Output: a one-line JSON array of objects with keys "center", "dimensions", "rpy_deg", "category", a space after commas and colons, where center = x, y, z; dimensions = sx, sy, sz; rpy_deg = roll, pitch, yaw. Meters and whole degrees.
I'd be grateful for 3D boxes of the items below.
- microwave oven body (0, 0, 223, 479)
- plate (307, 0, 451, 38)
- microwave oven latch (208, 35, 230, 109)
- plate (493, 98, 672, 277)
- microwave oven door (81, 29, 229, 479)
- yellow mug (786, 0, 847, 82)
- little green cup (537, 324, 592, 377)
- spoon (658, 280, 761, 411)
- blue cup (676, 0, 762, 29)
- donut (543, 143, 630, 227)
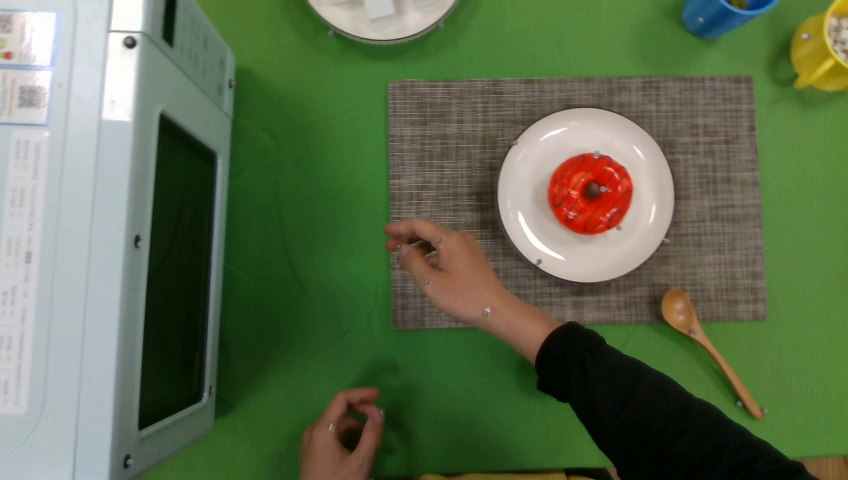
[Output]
[{"center": [-0.391, -0.028, 0.585], "dimensions": [0.326, 0.260, 0.441], "rpy_deg": [1, 87, -2], "category": "microwave oven body"}, {"center": [-0.054, -0.340, 0.727], "dimensions": [0.208, 0.039, 0.207], "rpy_deg": [0, 86, -1], "category": "plate"}, {"center": [-0.240, -0.193, 0.695], "dimensions": [0.030, 0.029, 0.079], "rpy_deg": [3, 87, -2], "category": "microwave oven latch"}, {"center": [0.183, -0.061, 0.713], "dimensions": [0.209, 0.038, 0.208], "rpy_deg": [0, 87, -1], "category": "plate"}, {"center": [-0.246, 0.018, 0.580], "dimensions": [0.039, 0.244, 0.355], "rpy_deg": [1, 86, -1], "category": "microwave oven door"}, {"center": [0.488, -0.238, 0.721], "dimensions": [0.131, 0.064, 0.100], "rpy_deg": [-43, 88, -2], "category": "yellow mug"}, {"center": [0.160, 0.128, 0.704], "dimensions": [0.061, 0.039, 0.061], "rpy_deg": [0, 84, -1], "category": "little green cup"}, {"center": [0.338, 0.127, 0.714], "dimensions": [0.041, 0.021, 0.193], "rpy_deg": [-38, 89, -19], "category": "spoon"}, {"center": [0.343, -0.293, 0.704], "dimensions": [0.093, 0.100, 0.092], "rpy_deg": [0, 88, -2], "category": "blue cup"}, {"center": [0.188, -0.064, 0.702], "dimensions": [0.099, 0.048, 0.099], "rpy_deg": [0, 88, 1], "category": "donut"}]
